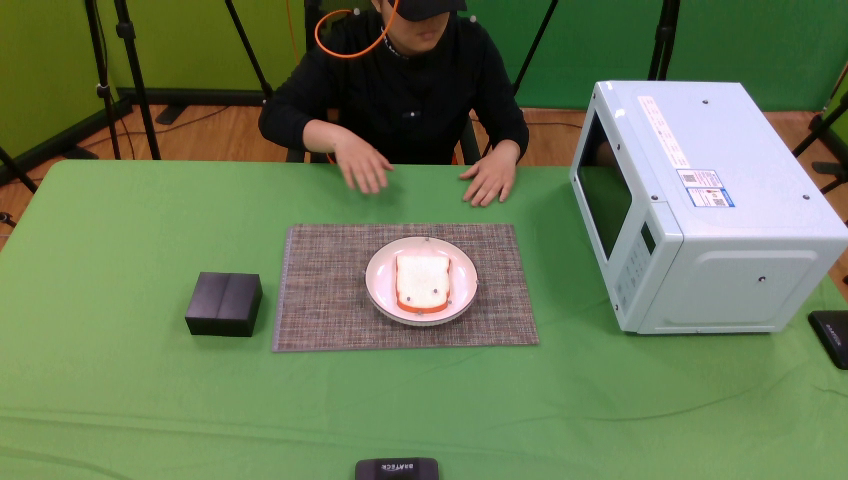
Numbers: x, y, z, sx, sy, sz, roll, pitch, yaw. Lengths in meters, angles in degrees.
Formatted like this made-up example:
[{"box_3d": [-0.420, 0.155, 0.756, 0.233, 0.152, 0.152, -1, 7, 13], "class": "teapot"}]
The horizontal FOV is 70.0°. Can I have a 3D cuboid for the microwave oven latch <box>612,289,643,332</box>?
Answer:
[{"box_3d": [0.357, 0.124, 1.068, 0.030, 0.029, 0.078, 0, 45, -3], "class": "microwave oven latch"}]

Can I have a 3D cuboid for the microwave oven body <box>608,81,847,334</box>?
[{"box_3d": [0.501, -0.070, 1.132, 0.326, 0.261, 0.438, -1, 45, -4], "class": "microwave oven body"}]

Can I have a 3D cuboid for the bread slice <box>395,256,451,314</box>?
[{"box_3d": [-0.001, 0.079, 1.109, 0.105, 0.019, 0.130, 1, 45, -2], "class": "bread slice"}]

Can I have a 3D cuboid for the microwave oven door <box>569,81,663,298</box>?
[{"box_3d": [0.353, -0.103, 1.147, 0.039, 0.245, 0.353, 0, 46, -4], "class": "microwave oven door"}]

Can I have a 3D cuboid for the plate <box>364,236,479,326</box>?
[{"box_3d": [-0.004, 0.078, 1.107, 0.209, 0.038, 0.208, 2, 46, -2], "class": "plate"}]
